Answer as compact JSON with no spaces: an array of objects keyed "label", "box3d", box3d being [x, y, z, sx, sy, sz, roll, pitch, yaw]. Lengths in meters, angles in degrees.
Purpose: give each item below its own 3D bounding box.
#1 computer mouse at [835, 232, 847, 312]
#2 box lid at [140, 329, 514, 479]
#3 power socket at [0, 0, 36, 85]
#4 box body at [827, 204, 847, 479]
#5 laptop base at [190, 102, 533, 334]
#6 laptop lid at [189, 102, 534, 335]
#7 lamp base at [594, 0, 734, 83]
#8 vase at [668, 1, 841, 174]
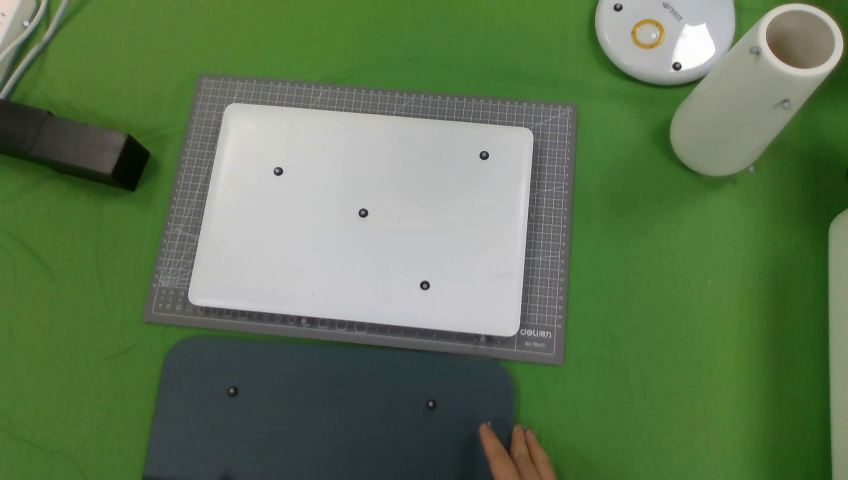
[{"label":"computer mouse","box3d":[0.460,0.042,0.610,0.063,0.041,0.116,2,67,6]},{"label":"box lid","box3d":[-0.102,0.231,0.605,0.371,0.015,0.262,4,75,3]},{"label":"power socket","box3d":[-0.542,-0.217,0.727,0.072,0.033,0.225,13,75,5]},{"label":"box body","box3d":[0.518,0.125,0.528,0.254,0.161,0.362,7,75,5]},{"label":"laptop base","box3d":[-0.065,-0.029,0.666,0.354,0.023,0.234,5,79,3]},{"label":"laptop lid","box3d":[-0.065,-0.029,0.654,0.356,0.013,0.240,7,78,4]},{"label":"lamp base","box3d":[0.284,-0.287,0.639,0.160,0.181,0.179,39,77,12]},{"label":"vase","box3d":[0.311,-0.141,0.589,0.098,0.201,0.097,-1,73,4]}]
